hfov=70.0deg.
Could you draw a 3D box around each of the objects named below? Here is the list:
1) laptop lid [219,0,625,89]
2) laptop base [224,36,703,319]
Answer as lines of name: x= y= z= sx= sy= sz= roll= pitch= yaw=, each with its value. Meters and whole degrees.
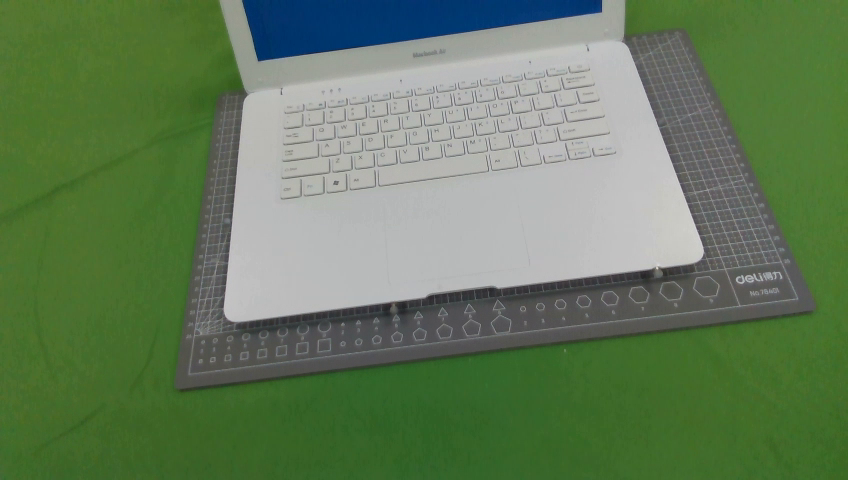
laptop lid: x=-0.008 y=-0.258 z=0.502 sx=0.357 sy=0.244 sz=0.013 roll=-9 pitch=30 yaw=3
laptop base: x=0.018 y=-0.060 z=0.501 sx=0.354 sy=0.023 sz=0.233 roll=-7 pitch=61 yaw=2
